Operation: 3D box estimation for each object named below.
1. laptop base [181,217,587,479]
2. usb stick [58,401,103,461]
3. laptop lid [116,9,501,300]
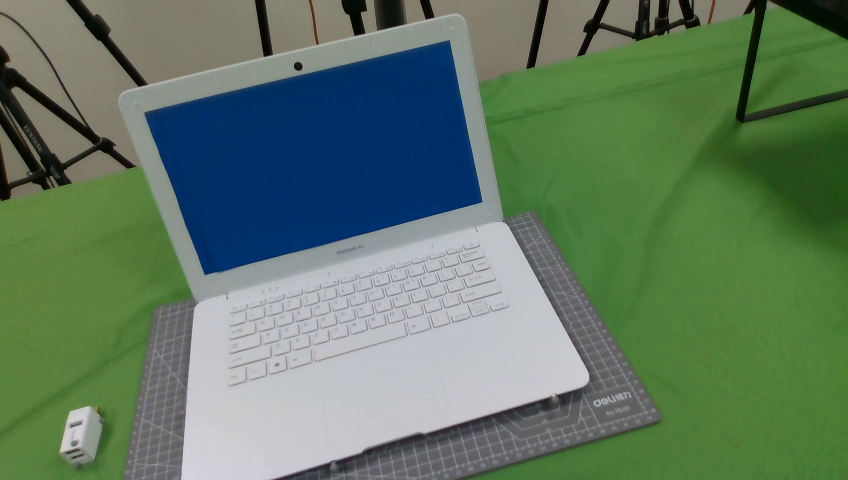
[{"bbox_3d":[-0.052,0.095,0.588,0.354,0.023,0.233,-15,43,-5],"label":"laptop base"},{"bbox_3d":[-0.313,0.170,0.556,0.021,0.027,0.058,-18,38,-1],"label":"usb stick"},{"bbox_3d":[-0.106,-0.084,0.637,0.357,0.243,0.013,-17,20,-5],"label":"laptop lid"}]
